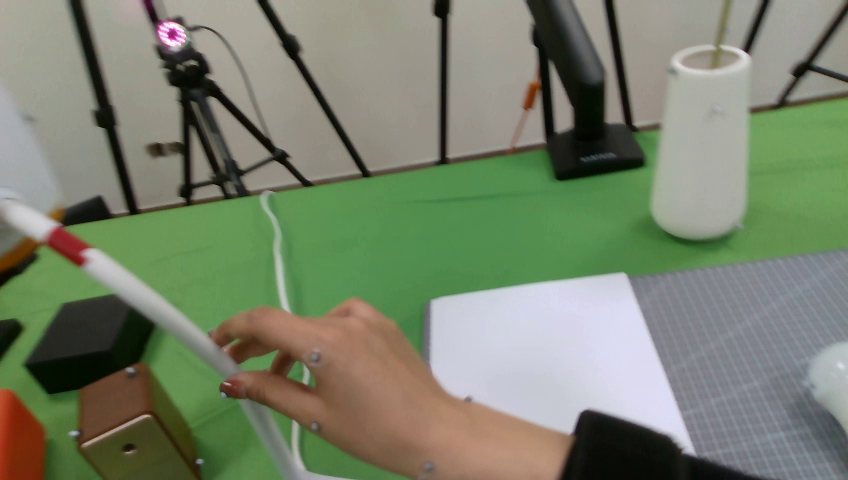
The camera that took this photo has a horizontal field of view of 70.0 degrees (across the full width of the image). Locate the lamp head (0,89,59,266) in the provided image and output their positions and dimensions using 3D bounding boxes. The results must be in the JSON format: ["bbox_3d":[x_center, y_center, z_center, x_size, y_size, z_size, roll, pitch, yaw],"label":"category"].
[{"bbox_3d":[-0.256,-0.040,0.316,0.112,0.124,0.111,-21,38,18],"label":"lamp head"}]

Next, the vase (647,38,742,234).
[{"bbox_3d":[0.288,-0.105,0.643,0.098,0.202,0.097,-10,35,7],"label":"vase"}]

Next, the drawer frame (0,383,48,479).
[{"bbox_3d":[-0.430,0.253,0.497,0.202,0.083,0.211,-26,37,-15],"label":"drawer frame"}]

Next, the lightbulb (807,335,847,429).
[{"bbox_3d":[0.326,0.121,0.448,0.059,0.060,0.106,-6,52,12],"label":"lightbulb"}]

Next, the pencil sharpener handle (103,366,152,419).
[{"bbox_3d":[-0.271,0.136,0.561,0.036,0.068,0.030,-21,36,-18],"label":"pencil sharpener handle"}]

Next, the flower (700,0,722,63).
[{"bbox_3d":[0.265,-0.156,0.578,0.043,0.365,0.038,32,68,29],"label":"flower"}]

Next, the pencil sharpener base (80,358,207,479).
[{"bbox_3d":[-0.244,0.168,0.529,0.061,0.108,0.076,-26,37,-15],"label":"pencil sharpener base"}]

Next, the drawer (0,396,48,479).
[{"bbox_3d":[-0.426,0.255,0.496,0.194,0.074,0.209,-26,36,-15],"label":"drawer"}]

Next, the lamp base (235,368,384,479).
[{"bbox_3d":[-0.077,0.179,0.394,0.161,0.182,0.177,-29,35,-18],"label":"lamp base"}]
